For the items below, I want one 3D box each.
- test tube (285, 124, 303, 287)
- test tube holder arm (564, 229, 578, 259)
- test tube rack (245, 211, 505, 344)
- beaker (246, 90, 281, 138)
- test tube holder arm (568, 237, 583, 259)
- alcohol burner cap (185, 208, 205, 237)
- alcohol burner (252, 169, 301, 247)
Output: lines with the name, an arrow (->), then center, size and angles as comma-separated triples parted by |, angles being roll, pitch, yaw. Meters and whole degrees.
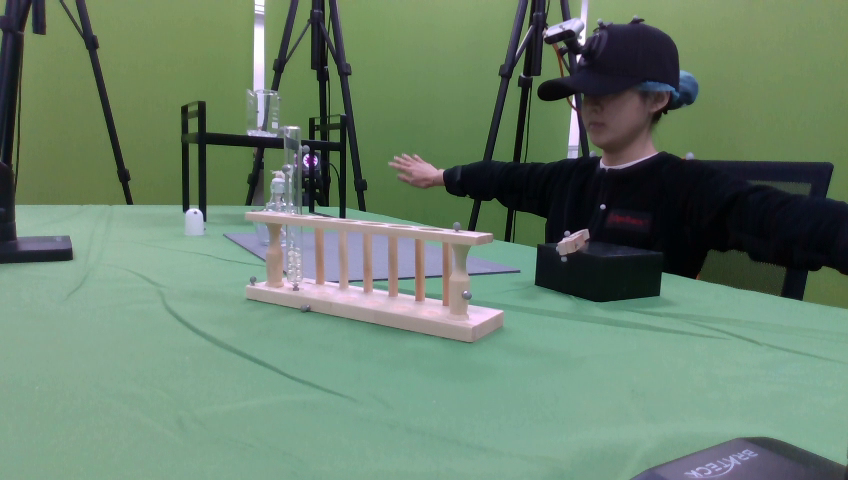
test tube -> -0.120, -0.030, 0.558 | 0.017, 0.150, 0.017 | 2, 10, 0
test tube holder arm -> 0.172, 0.002, 0.706 | 0.013, 0.015, 0.179 | 7, 9, 13
test tube rack -> -0.049, 0.025, 0.547 | 0.241, 0.085, 0.067 | 7, 8, 29
beaker -> -0.354, -0.275, 1.322 | 0.074, 0.100, 0.084 | 4, 8, 12
test tube holder arm -> 0.165, 0.008, 0.661 | 0.010, 0.015, 0.088 | 8, 9, 18
alcohol burner cap -> -0.391, -0.031, 1.032 | 0.034, 0.048, 0.034 | 3, 8, 0
alcohol burner -> -0.228, -0.050, 0.937 | 0.078, 0.119, 0.078 | 1, 7, 0
